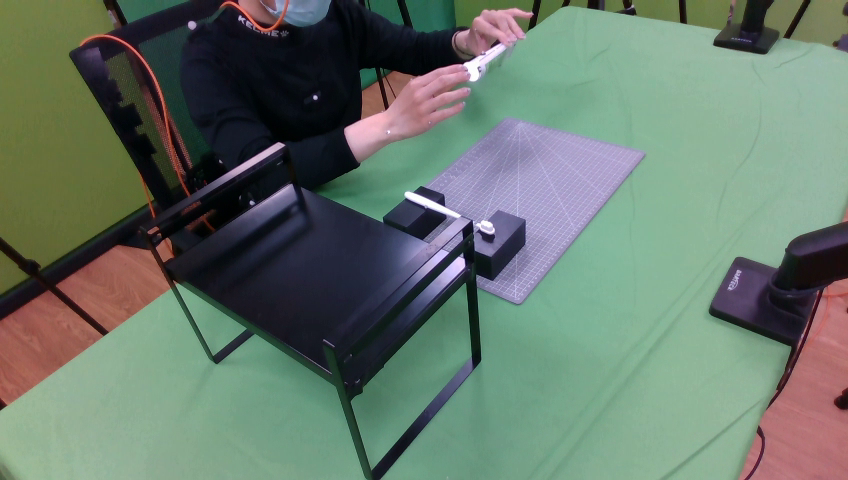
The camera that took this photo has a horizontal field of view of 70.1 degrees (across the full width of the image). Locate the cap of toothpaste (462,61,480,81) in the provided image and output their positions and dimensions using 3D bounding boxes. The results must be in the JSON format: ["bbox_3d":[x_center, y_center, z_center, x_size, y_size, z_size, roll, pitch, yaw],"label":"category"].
[{"bbox_3d":[0.078,-0.289,1.036,0.037,0.037,0.011,-38,11,-31],"label":"cap of toothpaste"}]

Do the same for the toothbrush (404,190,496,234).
[{"bbox_3d":[0.036,-0.047,0.942,0.180,0.017,0.014,25,61,34],"label":"toothbrush"}]

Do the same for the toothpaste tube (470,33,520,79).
[{"bbox_3d":[0.124,-0.332,1.104,0.034,0.055,0.165,43,51,8],"label":"toothpaste tube"}]
